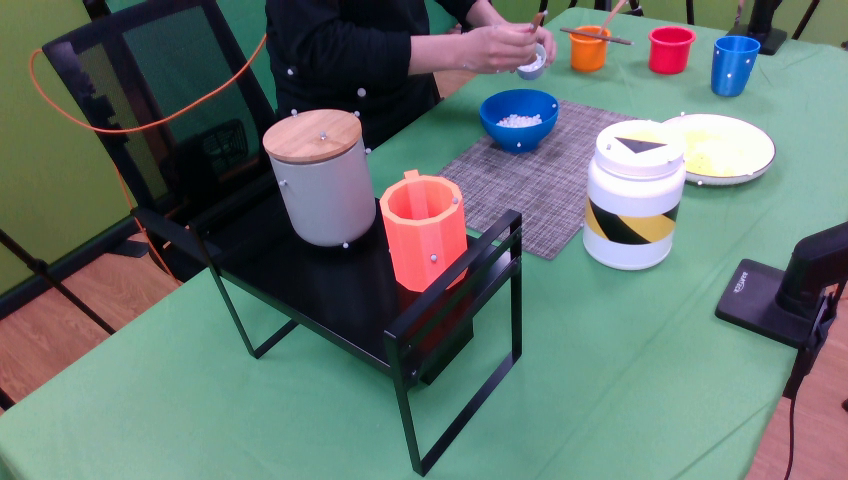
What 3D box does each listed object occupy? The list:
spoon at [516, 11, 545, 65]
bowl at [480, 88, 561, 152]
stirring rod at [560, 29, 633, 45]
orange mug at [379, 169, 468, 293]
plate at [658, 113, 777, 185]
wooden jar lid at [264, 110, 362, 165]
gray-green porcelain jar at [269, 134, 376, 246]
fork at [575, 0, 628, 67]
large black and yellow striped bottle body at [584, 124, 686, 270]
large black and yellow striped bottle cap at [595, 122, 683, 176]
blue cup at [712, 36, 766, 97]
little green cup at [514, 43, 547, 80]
[{"bbox_3d":[0.178,-0.331,0.997,0.041,0.194,0.021,-7,80,3],"label":"spoon"},{"bbox_3d":[0.185,-0.222,1.160,0.151,0.077,0.150,-5,40,4],"label":"bowl"},{"bbox_3d":[0.381,-0.452,1.345,0.174,0.006,0.014,25,49,33],"label":"stirring rod"},{"bbox_3d":[-0.002,-0.019,0.665,0.083,0.101,0.125,-12,45,-4],"label":"orange mug"},{"bbox_3d":[0.506,-0.158,1.073,0.209,0.038,0.208,-4,40,4],"label":"plate"},{"bbox_3d":[-0.122,-0.112,0.673,0.108,0.021,0.108,-4,37,4],"label":"wooden jar lid"},{"bbox_3d":[-0.115,-0.064,0.715,0.106,0.127,0.105,-4,40,4],"label":"gray-green porcelain jar"},{"bbox_3d":[0.413,-0.481,1.377,0.207,0.019,0.028,-56,42,12],"label":"fork"},{"bbox_3d":[0.304,-0.063,0.880,0.131,0.185,0.130,-5,41,5],"label":"large black and yellow striped bottle body"},{"bbox_3d":[0.293,-0.126,0.826,0.115,0.019,0.114,-3,40,3],"label":"large black and yellow striped bottle cap"},{"bbox_3d":[0.627,-0.350,1.227,0.092,0.100,0.092,-4,39,4],"label":"blue cup"},{"bbox_3d":[0.200,-0.333,1.133,0.061,0.039,0.061,-3,74,12],"label":"little green cup"}]
